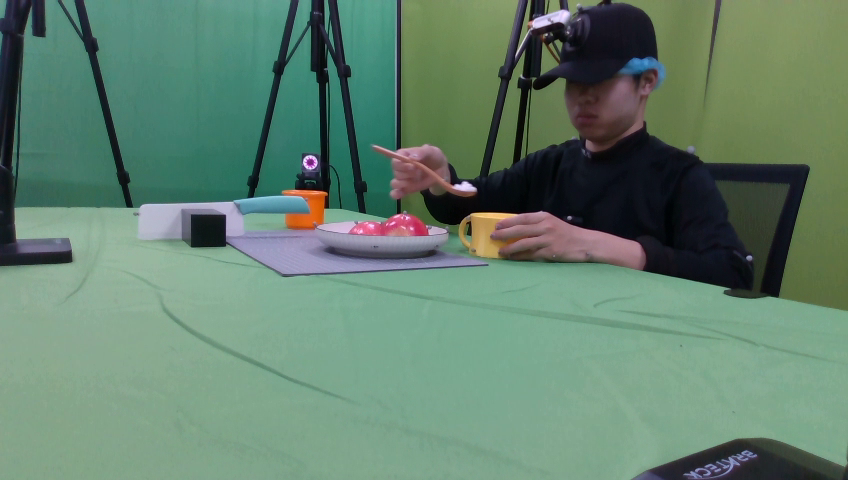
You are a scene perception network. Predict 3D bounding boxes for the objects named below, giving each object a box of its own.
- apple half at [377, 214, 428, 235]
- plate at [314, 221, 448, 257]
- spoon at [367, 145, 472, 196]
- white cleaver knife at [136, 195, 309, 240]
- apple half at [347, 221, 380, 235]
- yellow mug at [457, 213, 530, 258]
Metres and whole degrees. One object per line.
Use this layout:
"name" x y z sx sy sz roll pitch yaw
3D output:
"apple half" -0.034 -0.013 0.924 0.080 0.053 0.075 5 10 16
"plate" -0.066 -0.002 0.947 0.209 0.038 0.209 3 7 0
"spoon" -0.009 -0.116 0.995 0.193 0.021 0.042 30 13 11
"white cleaver knife" -0.337 -0.039 1.037 0.288 0.066 0.021 -6 15 -29
"apple half" -0.089 -0.014 0.985 0.081 0.033 0.081 5 6 0
"yellow mug" 0.109 -0.010 0.992 0.130 0.064 0.100 6 7 37
